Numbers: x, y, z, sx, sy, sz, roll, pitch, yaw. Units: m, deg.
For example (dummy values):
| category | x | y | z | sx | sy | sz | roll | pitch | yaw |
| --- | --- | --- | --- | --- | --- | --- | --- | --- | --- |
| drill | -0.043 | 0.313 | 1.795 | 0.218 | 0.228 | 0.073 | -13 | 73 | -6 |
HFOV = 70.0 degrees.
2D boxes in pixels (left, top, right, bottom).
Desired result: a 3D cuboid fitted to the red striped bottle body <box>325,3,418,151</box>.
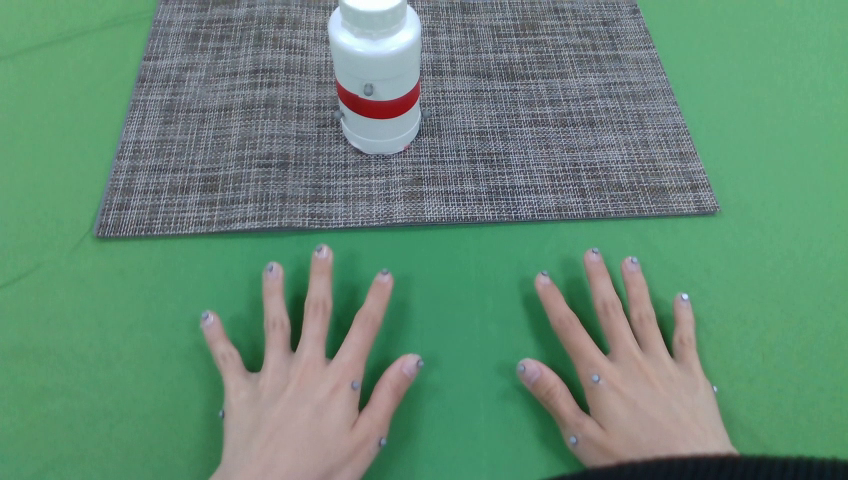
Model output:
| category | x | y | z | sx | sy | sz | roll | pitch | yaw |
| --- | --- | --- | --- | --- | --- | --- | --- | --- | --- |
| red striped bottle body | -0.036 | -0.125 | 0.435 | 0.063 | 0.120 | 0.062 | 1 | 58 | -1 |

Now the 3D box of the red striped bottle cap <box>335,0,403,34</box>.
| category | x | y | z | sx | sy | sz | roll | pitch | yaw |
| --- | --- | --- | --- | --- | --- | --- | --- | --- | --- |
| red striped bottle cap | -0.035 | -0.154 | 0.390 | 0.044 | 0.018 | 0.044 | 1 | 60 | -2 |
